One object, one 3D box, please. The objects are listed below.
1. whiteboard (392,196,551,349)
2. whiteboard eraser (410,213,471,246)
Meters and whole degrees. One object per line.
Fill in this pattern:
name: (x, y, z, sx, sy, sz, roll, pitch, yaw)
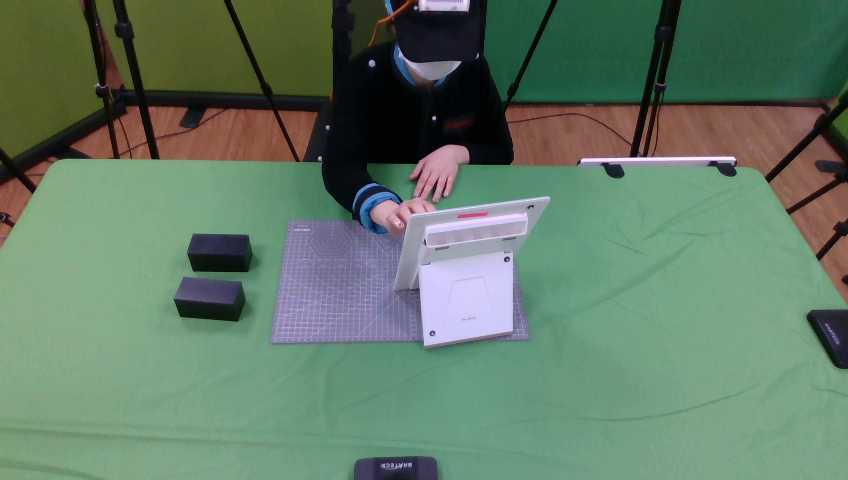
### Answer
whiteboard: (0.077, 0.071, 0.977, 0.217, 0.306, 0.143, -7, 67, -11)
whiteboard eraser: (0.025, -0.016, 0.943, 0.101, 0.041, 0.018, -22, 65, 22)
